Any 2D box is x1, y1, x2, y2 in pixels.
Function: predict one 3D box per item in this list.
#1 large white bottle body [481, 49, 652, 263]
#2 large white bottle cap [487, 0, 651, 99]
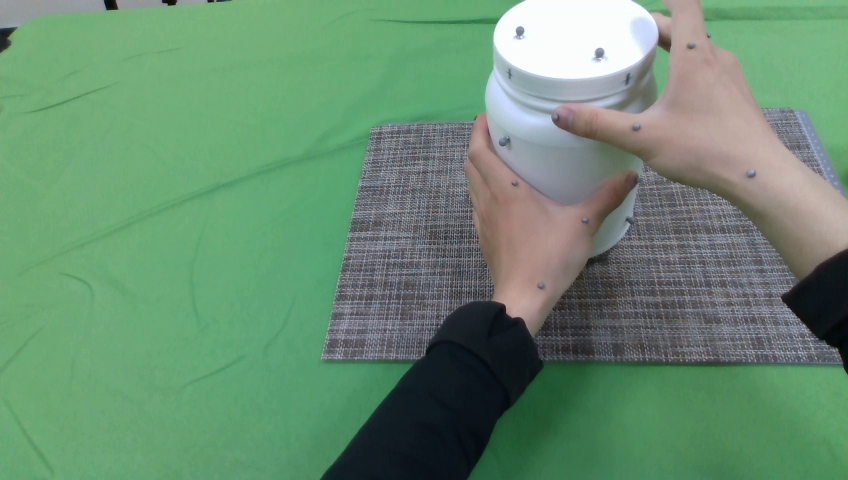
[{"bbox_3d":[0.114,-0.084,0.502,0.130,0.186,0.129,-4,49,5],"label":"large white bottle body"},{"bbox_3d":[0.103,-0.142,0.435,0.115,0.018,0.113,-4,49,5],"label":"large white bottle cap"}]
